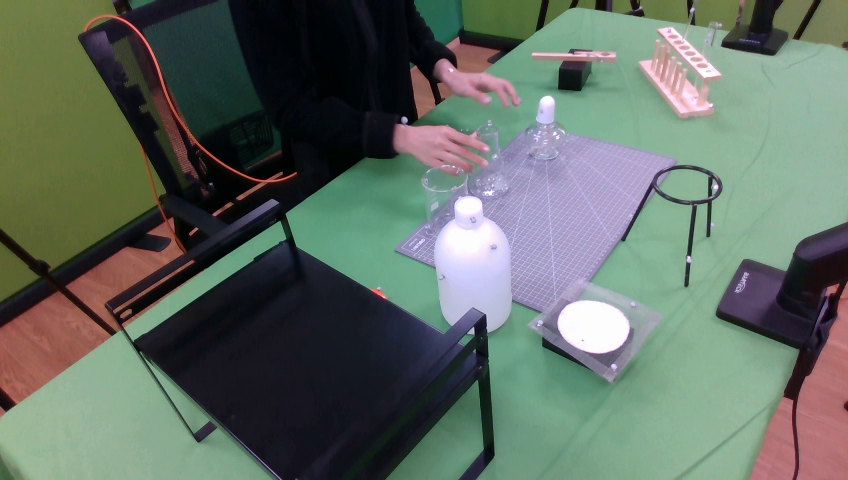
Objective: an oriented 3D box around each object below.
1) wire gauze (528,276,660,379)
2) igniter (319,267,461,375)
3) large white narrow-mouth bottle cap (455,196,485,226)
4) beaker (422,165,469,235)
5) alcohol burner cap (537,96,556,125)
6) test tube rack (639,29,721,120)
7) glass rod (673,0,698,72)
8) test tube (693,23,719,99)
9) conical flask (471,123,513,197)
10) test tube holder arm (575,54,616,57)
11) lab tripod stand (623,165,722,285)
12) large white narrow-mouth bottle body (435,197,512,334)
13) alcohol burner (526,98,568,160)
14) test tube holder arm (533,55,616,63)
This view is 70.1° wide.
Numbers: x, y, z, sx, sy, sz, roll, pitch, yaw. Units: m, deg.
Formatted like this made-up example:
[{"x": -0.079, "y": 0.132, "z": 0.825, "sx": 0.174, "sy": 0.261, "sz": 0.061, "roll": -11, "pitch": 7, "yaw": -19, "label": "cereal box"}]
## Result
[{"x": 0.214, "y": 0.103, "z": 0.763, "sx": 0.124, "sy": 0.011, "sz": 0.122, "roll": 30, "pitch": 52, "yaw": 35, "label": "wire gauze"}, {"x": -0.060, "y": 0.108, "z": 0.862, "sx": 0.274, "sy": 0.025, "sz": 0.057, "roll": 28, "pitch": 63, "yaw": 35, "label": "igniter"}, {"x": 0.057, "y": -0.036, "z": 0.749, "sx": 0.038, "sy": 0.024, "sz": 0.037, "roll": -4, "pitch": 40, "yaw": 4, "label": "large white narrow-mouth bottle cap"}, {"x": 0.041, "y": -0.063, "z": 0.986, "sx": 0.073, "sy": 0.101, "sz": 0.084, "roll": 20, "pitch": 47, "yaw": 29, "label": "beaker"}, {"x": 0.223, "y": -0.237, "z": 1.095, "sx": 0.034, "sy": 0.048, "sz": 0.033, "roll": 0, "pitch": 43, "yaw": 1, "label": "alcohol burner cap"}, {"x": 0.527, "y": -0.351, "z": 1.262, "sx": 0.067, "sy": 0.085, "sz": 0.241, "roll": -8, "pitch": 40, "yaw": 1, "label": "test tube rack"}, {"x": 0.536, "y": -0.424, "z": 1.244, "sx": 0.008, "sy": 0.200, "sz": 0.008, "roll": 0, "pitch": 48, "yaw": 0, "label": "glass rod"}, {"x": 0.546, "y": -0.345, "z": 1.175, "sx": 0.017, "sy": 0.151, "sz": 0.017, "roll": -2, "pitch": 39, "yaw": 2, "label": "test tube"}, {"x": 0.115, "y": -0.139, "z": 1.046, "sx": 0.075, "sy": 0.122, "sz": 0.075, "roll": -5, "pitch": 41, "yaw": 4, "label": "conical flask"}, {"x": 0.373, "y": -0.398, "z": 1.318, "sx": 0.087, "sy": 0.015, "sz": 0.010, "roll": 5, "pitch": 51, "yaw": 15, "label": "test tube holder arm"}, {"x": 0.365, "y": -0.030, "z": 0.874, "sx": 0.148, "sy": 0.132, "sz": 0.147, "roll": -6, "pitch": 41, "yaw": 6, "label": "lab tripod stand"}, {"x": 0.066, "y": 0.029, "z": 0.805, "sx": 0.102, "sy": 0.195, "sz": 0.101, "roll": -4, "pitch": 40, "yaw": 4, "label": "large white narrow-mouth bottle body"}, {"x": 0.228, "y": -0.209, "z": 1.118, "sx": 0.078, "sy": 0.119, "sz": 0.077, "roll": -5, "pitch": 43, "yaw": 5, "label": "alcohol burner"}, {"x": 0.329, "y": -0.398, "z": 1.327, "sx": 0.178, "sy": 0.015, "sz": 0.013, "roll": 5, "pitch": 51, "yaw": 15, "label": "test tube holder arm"}]
